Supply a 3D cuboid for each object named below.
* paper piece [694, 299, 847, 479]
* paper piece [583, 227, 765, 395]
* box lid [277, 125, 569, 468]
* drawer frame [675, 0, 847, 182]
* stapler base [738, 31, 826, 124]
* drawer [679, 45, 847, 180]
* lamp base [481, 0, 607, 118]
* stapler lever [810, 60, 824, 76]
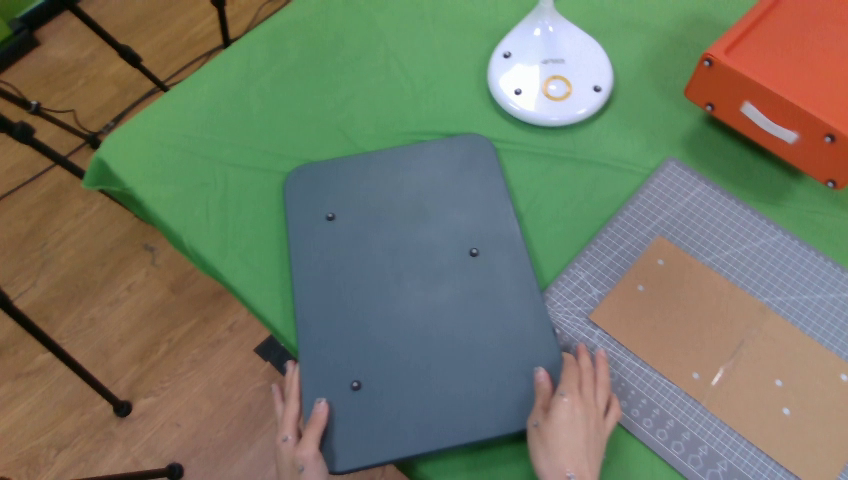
[{"bbox_3d":[0.362,0.146,0.600,0.134,0.004,0.135,39,72,19],"label":"paper piece"},{"bbox_3d":[0.264,0.069,0.642,0.135,0.009,0.138,38,72,22],"label":"paper piece"},{"bbox_3d":[-0.017,0.039,0.658,0.263,0.015,0.368,-12,61,-3],"label":"box lid"},{"bbox_3d":[0.433,-0.203,0.679,0.200,0.083,0.213,40,71,19],"label":"drawer frame"},{"bbox_3d":[0.412,-0.193,0.695,0.041,0.025,0.129,-22,62,10],"label":"stapler base"},{"bbox_3d":[0.432,-0.200,0.678,0.193,0.074,0.211,40,71,20],"label":"drawer"},{"bbox_3d":[0.147,-0.268,0.715,0.161,0.182,0.177,-13,61,-4],"label":"lamp base"},{"bbox_3d":[0.401,-0.204,0.673,0.027,0.040,0.117,-22,60,10],"label":"stapler lever"}]
